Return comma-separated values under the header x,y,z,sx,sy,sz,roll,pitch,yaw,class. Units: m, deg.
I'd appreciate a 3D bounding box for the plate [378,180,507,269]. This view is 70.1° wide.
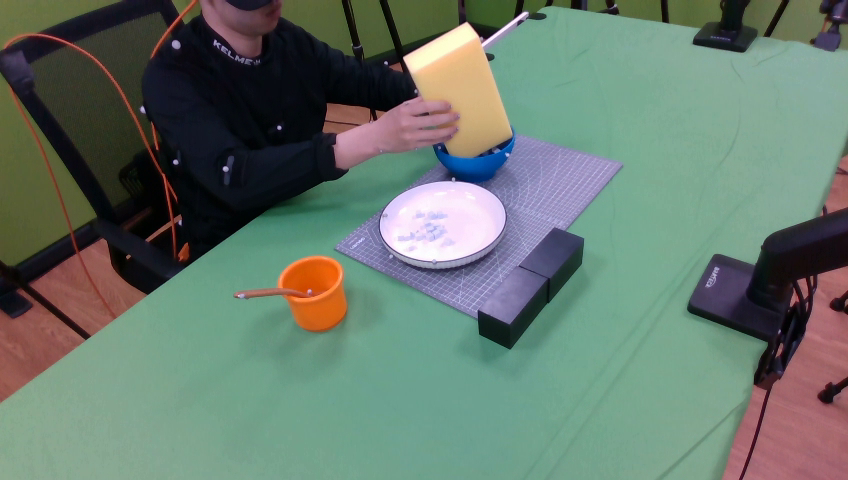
x,y,z,sx,sy,sz,roll,pitch,yaw,class
0.031,-0.022,0.974,0.209,0.038,0.208,-4,40,4,plate

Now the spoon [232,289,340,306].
x,y,z,sx,sy,sz,roll,pitch,yaw,class
-0.181,0.074,0.811,0.041,0.195,0.021,16,90,31,spoon

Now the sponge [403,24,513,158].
x,y,z,sx,sy,sz,roll,pitch,yaw,class
0.062,-0.238,1.020,0.118,0.208,0.060,-27,44,3,sponge

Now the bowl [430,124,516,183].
x,y,z,sx,sy,sz,roll,pitch,yaw,class
0.090,-0.155,1.090,0.151,0.077,0.150,-4,40,4,bowl
